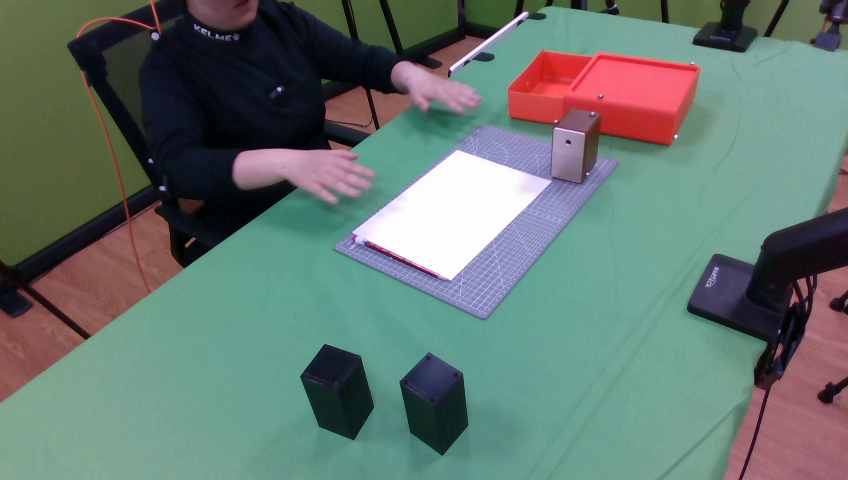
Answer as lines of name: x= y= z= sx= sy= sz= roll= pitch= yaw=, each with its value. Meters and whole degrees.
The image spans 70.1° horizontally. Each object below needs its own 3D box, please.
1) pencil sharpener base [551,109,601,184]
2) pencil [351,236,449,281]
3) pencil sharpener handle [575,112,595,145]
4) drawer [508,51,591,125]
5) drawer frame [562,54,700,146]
pencil sharpener base: x=0.265 y=-0.164 z=1.053 sx=0.061 sy=0.107 sz=0.077 roll=17 pitch=46 yaw=27
pencil: x=-0.041 y=0.029 z=0.946 sx=0.192 sy=0.012 sz=0.012 roll=23 pitch=49 yaw=29
pencil sharpener handle: x=0.290 y=-0.203 z=1.077 sx=0.036 sy=0.068 sz=0.031 roll=20 pitch=47 yaw=25
drawer: x=0.304 y=-0.309 z=1.246 sx=0.210 sy=0.073 sz=0.195 roll=16 pitch=45 yaw=25
drawer frame: x=0.406 y=-0.282 z=1.195 sx=0.212 sy=0.083 sz=0.202 roll=17 pitch=45 yaw=25
